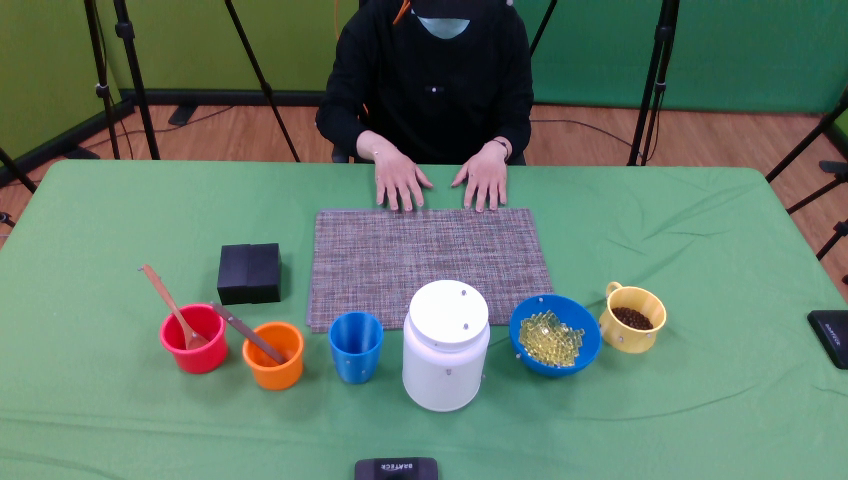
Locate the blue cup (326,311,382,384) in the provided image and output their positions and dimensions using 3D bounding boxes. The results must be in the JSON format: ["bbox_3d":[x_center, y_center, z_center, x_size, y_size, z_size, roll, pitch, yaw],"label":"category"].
[{"bbox_3d":[-0.110,0.178,0.963,0.093,0.101,0.092,3,45,-3],"label":"blue cup"}]

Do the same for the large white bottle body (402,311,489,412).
[{"bbox_3d":[0.031,0.163,0.928,0.131,0.185,0.130,2,46,-1],"label":"large white bottle body"}]

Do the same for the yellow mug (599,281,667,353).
[{"bbox_3d":[0.359,0.127,1.069,0.100,0.064,0.130,-12,47,-14],"label":"yellow mug"}]

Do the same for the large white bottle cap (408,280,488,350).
[{"bbox_3d":[0.034,0.105,0.867,0.115,0.018,0.114,2,46,-1],"label":"large white bottle cap"}]

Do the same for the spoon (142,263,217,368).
[{"bbox_3d":[-0.392,0.120,0.968,0.041,0.021,0.194,-33,100,-30],"label":"spoon"}]

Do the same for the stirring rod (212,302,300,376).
[{"bbox_3d":[-0.261,0.156,0.948,0.177,0.006,0.014,45,45,-20],"label":"stirring rod"}]

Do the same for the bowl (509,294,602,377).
[{"bbox_3d":[0.211,0.171,1.007,0.151,0.077,0.150,2,46,-2],"label":"bowl"}]
